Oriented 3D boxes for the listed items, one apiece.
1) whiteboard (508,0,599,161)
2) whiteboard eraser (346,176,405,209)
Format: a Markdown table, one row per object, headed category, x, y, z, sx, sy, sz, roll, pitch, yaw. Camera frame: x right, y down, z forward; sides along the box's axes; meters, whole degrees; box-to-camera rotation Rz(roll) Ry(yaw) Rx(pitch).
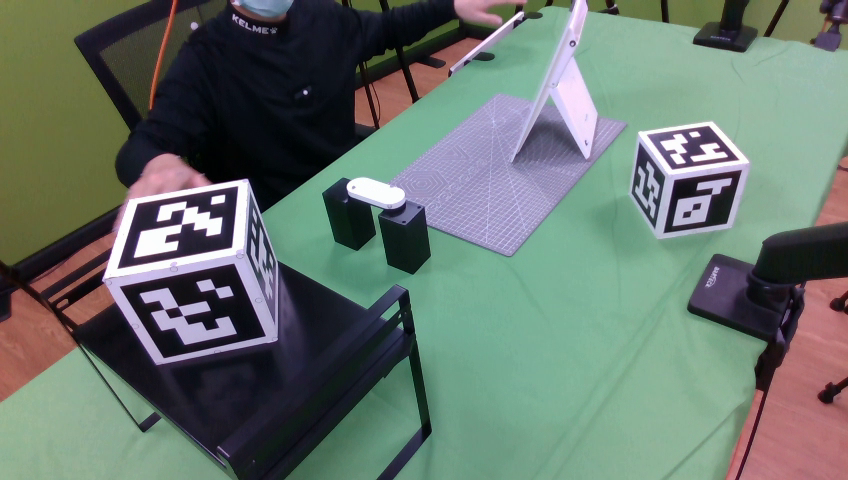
| category | x | y | z | sx | sy | sz | roll | pitch | yaw |
| --- | --- | --- | --- | --- | --- | --- | --- | --- | --- |
| whiteboard | 0.285 | -0.289 | 1.088 | 0.144 | 0.305 | 0.217 | 22 | 45 | 3 |
| whiteboard eraser | -0.073 | -0.072 | 0.909 | 0.100 | 0.019 | 0.041 | 20 | 49 | 29 |
